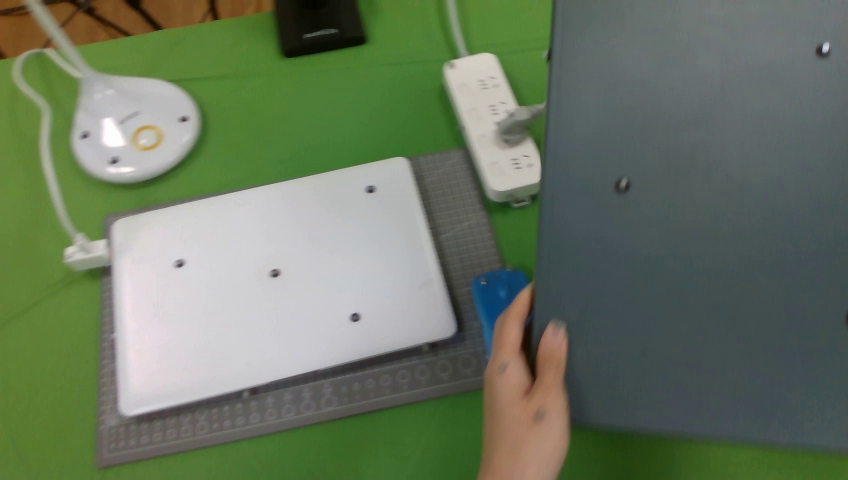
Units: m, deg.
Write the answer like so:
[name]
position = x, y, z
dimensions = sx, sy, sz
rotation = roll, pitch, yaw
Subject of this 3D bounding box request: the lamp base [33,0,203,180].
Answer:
[lamp base]
position = -0.378, -0.187, 0.712
dimensions = 0.178, 0.182, 0.160
rotation = 34, 69, 21

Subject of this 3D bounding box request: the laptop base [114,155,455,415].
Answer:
[laptop base]
position = -0.162, 0.039, 0.677
dimensions = 0.354, 0.023, 0.233
rotation = -13, 67, -4

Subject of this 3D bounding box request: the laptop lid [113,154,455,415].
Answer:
[laptop lid]
position = -0.163, 0.036, 0.665
dimensions = 0.357, 0.013, 0.239
rotation = -12, 66, -3

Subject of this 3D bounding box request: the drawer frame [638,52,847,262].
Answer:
[drawer frame]
position = 0.352, -0.099, 0.680
dimensions = 0.201, 0.083, 0.212
rotation = 10, 58, 6

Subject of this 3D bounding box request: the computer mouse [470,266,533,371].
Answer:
[computer mouse]
position = 0.087, 0.078, 0.633
dimensions = 0.063, 0.041, 0.116
rotation = -9, 59, 0

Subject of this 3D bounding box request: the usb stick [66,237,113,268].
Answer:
[usb stick]
position = -0.369, 0.013, 0.685
dimensions = 0.059, 0.027, 0.021
rotation = -10, 58, -5

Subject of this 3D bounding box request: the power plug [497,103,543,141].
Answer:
[power plug]
position = 0.124, -0.135, 0.720
dimensions = 0.072, 0.053, 0.035
rotation = -3, 62, 0

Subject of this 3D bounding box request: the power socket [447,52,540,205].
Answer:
[power socket]
position = 0.088, -0.145, 0.752
dimensions = 0.072, 0.033, 0.224
rotation = -13, 63, -6

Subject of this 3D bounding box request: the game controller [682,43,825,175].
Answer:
[game controller]
position = 0.355, -0.149, 0.651
dimensions = 0.097, 0.052, 0.153
rotation = -12, 63, -7

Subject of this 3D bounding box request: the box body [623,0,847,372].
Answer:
[box body]
position = 0.355, -0.067, 0.626
dimensions = 0.254, 0.161, 0.361
rotation = 10, 64, 8

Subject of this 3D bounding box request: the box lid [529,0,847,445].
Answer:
[box lid]
position = 0.217, -0.051, 0.443
dimensions = 0.263, 0.015, 0.369
rotation = 4, 72, 6

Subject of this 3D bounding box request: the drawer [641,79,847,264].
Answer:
[drawer]
position = 0.355, -0.086, 0.695
dimensions = 0.194, 0.074, 0.210
rotation = 9, 53, 8
